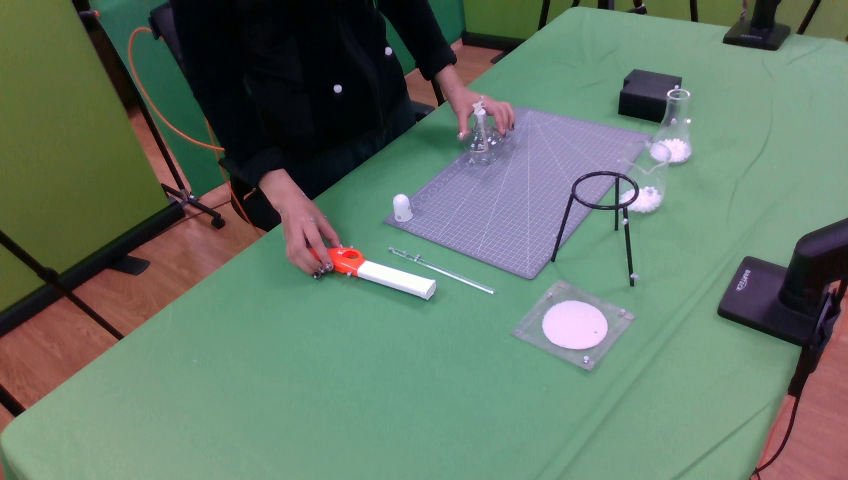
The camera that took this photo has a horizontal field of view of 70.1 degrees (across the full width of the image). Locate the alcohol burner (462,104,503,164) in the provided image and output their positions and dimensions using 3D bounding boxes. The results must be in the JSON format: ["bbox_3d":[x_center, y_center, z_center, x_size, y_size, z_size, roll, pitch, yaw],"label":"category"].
[{"bbox_3d":[0.109,-0.202,1.127,0.078,0.119,0.077,-5,42,5],"label":"alcohol burner"}]

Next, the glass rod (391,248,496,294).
[{"bbox_3d":[0.026,0.045,0.936,0.198,0.008,0.008,21,49,31],"label":"glass rod"}]

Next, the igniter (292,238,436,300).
[{"bbox_3d":[-0.104,0.041,0.951,0.274,0.025,0.057,16,45,28],"label":"igniter"}]

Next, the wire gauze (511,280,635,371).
[{"bbox_3d":[0.203,0.114,0.822,0.120,0.011,0.125,25,52,35],"label":"wire gauze"}]

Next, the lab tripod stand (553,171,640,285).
[{"bbox_3d":[0.260,-0.025,0.877,0.148,0.132,0.147,-6,38,5],"label":"lab tripod stand"}]

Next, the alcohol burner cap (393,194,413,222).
[{"bbox_3d":[-0.038,-0.057,1.038,0.034,0.048,0.033,-5,41,5],"label":"alcohol burner cap"}]

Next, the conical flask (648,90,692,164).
[{"bbox_3d":[0.437,-0.199,1.057,0.075,0.122,0.075,-5,40,5],"label":"conical flask"}]

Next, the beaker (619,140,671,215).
[{"bbox_3d":[0.352,-0.096,0.971,0.074,0.101,0.084,1,42,13],"label":"beaker"}]
